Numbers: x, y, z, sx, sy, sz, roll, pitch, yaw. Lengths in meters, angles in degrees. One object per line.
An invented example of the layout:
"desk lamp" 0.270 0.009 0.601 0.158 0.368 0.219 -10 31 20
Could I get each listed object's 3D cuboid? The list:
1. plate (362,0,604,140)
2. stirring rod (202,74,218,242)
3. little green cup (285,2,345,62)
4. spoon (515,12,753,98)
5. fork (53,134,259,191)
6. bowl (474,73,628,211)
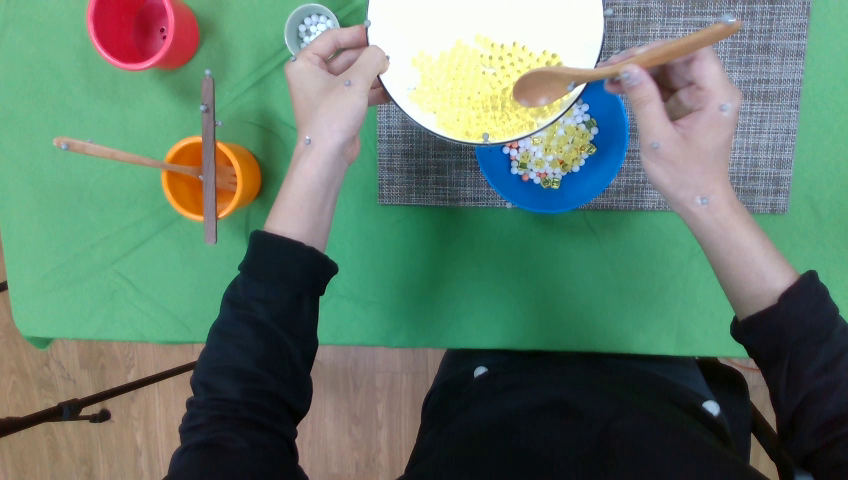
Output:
"plate" 0.051 -0.193 0.540 0.209 0.038 0.209 0 98 1
"stirring rod" -0.227 -0.084 0.641 0.014 0.006 0.176 4 101 5
"little green cup" -0.117 -0.224 0.661 0.061 0.038 0.062 1 101 7
"spoon" 0.143 -0.133 0.449 0.042 0.192 0.021 33 73 -33
"fork" -0.278 -0.083 0.650 0.209 0.018 0.028 10 108 -39
"bowl" 0.128 -0.110 0.630 0.151 0.076 0.152 1 102 5
